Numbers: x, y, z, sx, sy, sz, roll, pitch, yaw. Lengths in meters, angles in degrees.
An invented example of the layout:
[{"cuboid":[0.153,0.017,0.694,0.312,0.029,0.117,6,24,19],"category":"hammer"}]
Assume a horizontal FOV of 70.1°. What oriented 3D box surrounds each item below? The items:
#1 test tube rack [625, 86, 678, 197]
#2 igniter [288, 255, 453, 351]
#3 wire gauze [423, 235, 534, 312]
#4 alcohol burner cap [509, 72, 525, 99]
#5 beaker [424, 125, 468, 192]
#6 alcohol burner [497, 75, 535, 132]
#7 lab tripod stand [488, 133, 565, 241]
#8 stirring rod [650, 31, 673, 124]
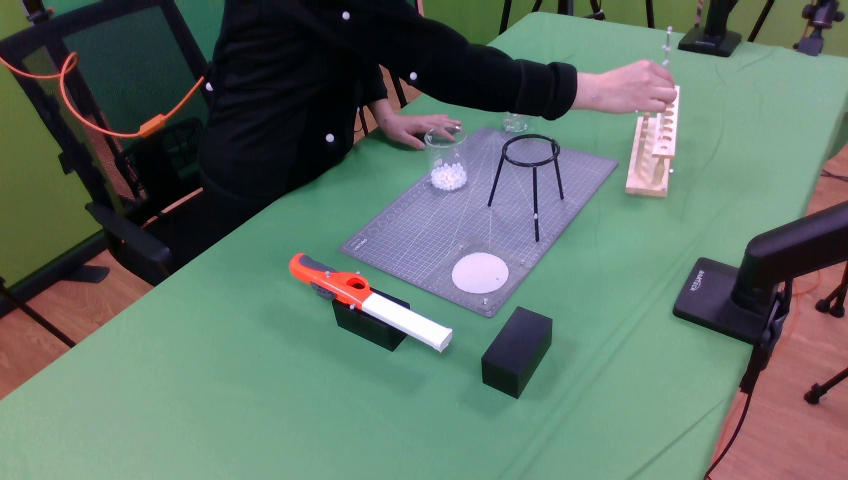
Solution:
[{"cuboid":[0.412,-0.184,1.088,0.066,0.085,0.242,9,43,18],"category":"test tube rack"},{"cuboid":[-0.083,0.079,0.818,0.274,0.025,0.057,22,46,27],"category":"igniter"},{"cuboid":[0.082,0.049,0.914,0.120,0.011,0.125,26,53,32],"category":"wire gauze"},{"cuboid":[0.181,-0.306,1.186,0.034,0.048,0.033,-7,39,6],"category":"alcohol burner cap"},{"cuboid":[0.043,-0.144,1.078,0.073,0.100,0.084,28,51,34],"category":"beaker"},{"cuboid":[0.184,-0.278,1.210,0.078,0.119,0.077,-3,43,3],"category":"alcohol burner"},{"cuboid":[0.168,-0.093,0.972,0.148,0.132,0.147,-5,41,5],"category":"lab tripod stand"},{"cuboid":[0.361,-0.243,0.924,0.006,0.177,0.014,29,66,27],"category":"stirring rod"}]
